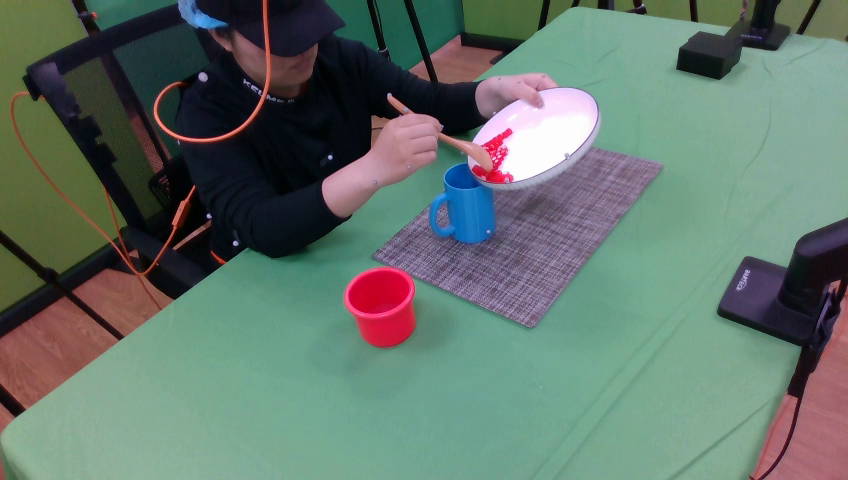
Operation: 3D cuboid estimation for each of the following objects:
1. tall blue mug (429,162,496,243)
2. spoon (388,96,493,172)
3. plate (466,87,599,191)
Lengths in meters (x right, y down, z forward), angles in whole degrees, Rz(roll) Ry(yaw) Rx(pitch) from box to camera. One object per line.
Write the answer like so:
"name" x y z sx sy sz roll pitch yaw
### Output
"tall blue mug" 0.067 -0.051 0.960 0.077 0.108 0.107 18 47 27
"spoon" 0.027 -0.153 0.876 0.195 0.021 0.041 26 45 -21
"plate" 0.163 -0.147 0.910 0.207 0.039 0.206 -22 39 20
